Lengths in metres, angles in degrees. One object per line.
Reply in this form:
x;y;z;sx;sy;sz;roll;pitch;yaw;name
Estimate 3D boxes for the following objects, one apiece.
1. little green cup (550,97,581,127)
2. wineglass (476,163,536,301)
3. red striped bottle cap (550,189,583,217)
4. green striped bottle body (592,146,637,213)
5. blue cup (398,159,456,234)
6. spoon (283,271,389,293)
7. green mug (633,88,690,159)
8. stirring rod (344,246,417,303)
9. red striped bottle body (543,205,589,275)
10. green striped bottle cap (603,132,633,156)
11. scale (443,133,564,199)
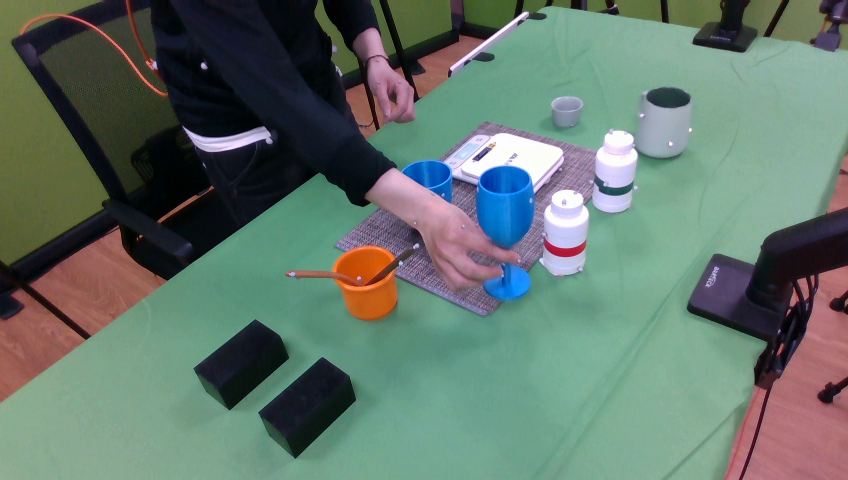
0.284;-0.255;1.213;0.061;0.039;0.061;-5;41;5;little green cup
0.103;-0.006;0.754;0.074;0.173;0.073;-5;41;4;wineglass
0.199;-0.052;0.843;0.044;0.018;0.044;-1;43;1;red striped bottle cap
0.307;-0.108;0.976;0.063;0.120;0.063;-4;41;4;green striped bottle body
0.006;-0.065;0.976;0.092;0.100;0.092;-4;39;4;blue cup
-0.117;0.054;0.825;0.041;0.195;0.021;16;89;37;spoon
0.423;-0.217;1.099;0.093;0.105;0.124;-16;41;-9;green mug
-0.062;0.050;0.819;0.014;0.175;0.006;-2;64;-40;stirring rod
0.206;-0.011;0.877;0.063;0.120;0.062;-4;41;4;red striped bottle body
0.302;-0.149;0.939;0.044;0.020;0.044;-3;40;3;green striped bottle cap
0.137;-0.142;1.101;0.199;0.032;0.149;22;48;30;scale
